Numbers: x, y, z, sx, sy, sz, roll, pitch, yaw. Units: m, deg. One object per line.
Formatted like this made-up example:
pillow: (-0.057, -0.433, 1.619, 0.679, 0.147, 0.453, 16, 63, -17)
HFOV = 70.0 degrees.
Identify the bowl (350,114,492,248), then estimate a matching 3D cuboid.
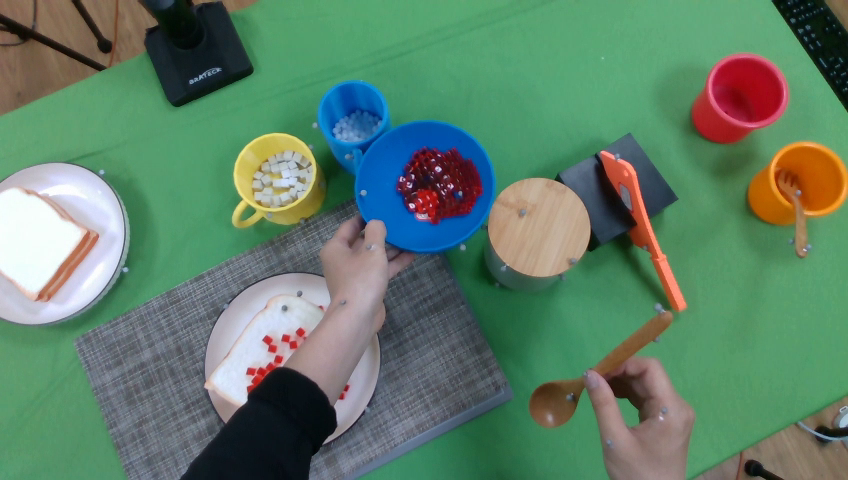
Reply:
bowl: (-0.001, -0.055, 0.674, 0.151, 0.077, 0.150, 0, 74, 1)

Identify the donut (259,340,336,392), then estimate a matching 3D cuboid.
donut: (-0.150, 0.128, 0.694, 0.099, 0.048, 0.098, 5, 68, -13)

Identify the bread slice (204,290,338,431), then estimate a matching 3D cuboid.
bread slice: (-0.160, 0.123, 0.663, 0.107, 0.018, 0.134, 27, 73, 0)

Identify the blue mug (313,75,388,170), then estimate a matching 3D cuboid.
blue mug: (-0.083, -0.125, 0.744, 0.082, 0.106, 0.116, -6, 78, 1)

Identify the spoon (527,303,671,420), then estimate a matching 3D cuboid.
spoon: (0.146, 0.109, 0.523, 0.021, 0.194, 0.041, -28, 71, -38)

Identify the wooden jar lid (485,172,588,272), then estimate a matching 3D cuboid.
wooden jar lid: (0.117, -0.018, 0.641, 0.108, 0.021, 0.108, 0, 80, -1)

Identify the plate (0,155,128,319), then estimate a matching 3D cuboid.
plate: (-0.472, -0.003, 0.762, 0.207, 0.039, 0.206, 0, 78, 1)

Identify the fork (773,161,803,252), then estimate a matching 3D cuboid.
fork: (0.418, -0.042, 0.690, 0.028, 0.019, 0.206, 35, 37, 3)

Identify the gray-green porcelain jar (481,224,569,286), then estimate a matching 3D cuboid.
gray-green porcelain jar: (0.121, -0.004, 0.702, 0.106, 0.127, 0.105, 0, 78, 1)

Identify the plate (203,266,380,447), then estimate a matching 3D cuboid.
plate: (-0.154, 0.136, 0.721, 0.209, 0.038, 0.208, 0, 78, 1)

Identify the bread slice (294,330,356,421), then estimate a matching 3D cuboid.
bread slice: (-0.158, 0.149, 0.721, 0.104, 0.019, 0.131, 29, 78, 9)

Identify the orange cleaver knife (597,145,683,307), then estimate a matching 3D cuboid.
orange cleaver knife: (0.256, -0.017, 0.723, 0.012, 0.077, 0.212, -28, 105, -4)

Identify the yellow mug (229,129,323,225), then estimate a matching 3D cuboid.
yellow mug: (-0.192, -0.069, 0.754, 0.099, 0.064, 0.131, 41, 83, 10)
